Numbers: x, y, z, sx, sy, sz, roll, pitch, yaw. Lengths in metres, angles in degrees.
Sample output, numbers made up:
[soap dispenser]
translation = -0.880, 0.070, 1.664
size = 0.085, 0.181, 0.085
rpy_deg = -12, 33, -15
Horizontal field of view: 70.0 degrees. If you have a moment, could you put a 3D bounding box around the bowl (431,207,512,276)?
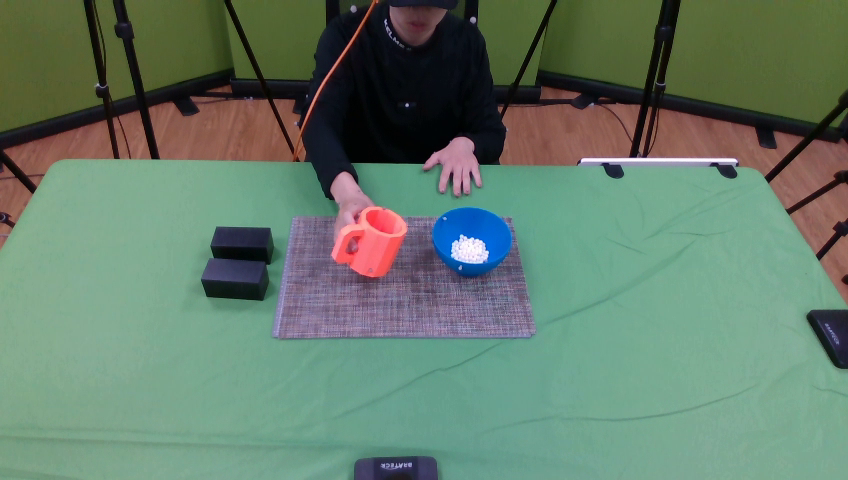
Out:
[bowl]
translation = 0.086, 0.016, 1.147
size = 0.151, 0.077, 0.150
rpy_deg = 3, 46, -2

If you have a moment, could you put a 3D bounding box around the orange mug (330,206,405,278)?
[orange mug]
translation = -0.102, 0.004, 1.070
size = 0.126, 0.101, 0.083
rpy_deg = -2, 42, -42
